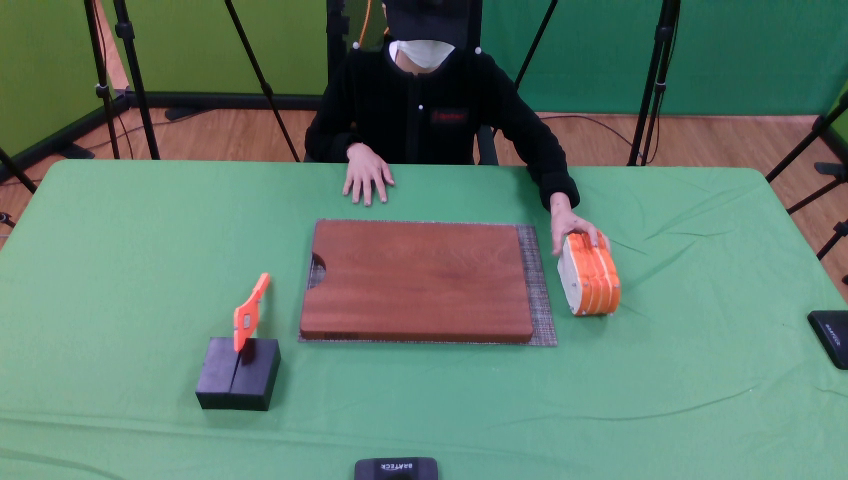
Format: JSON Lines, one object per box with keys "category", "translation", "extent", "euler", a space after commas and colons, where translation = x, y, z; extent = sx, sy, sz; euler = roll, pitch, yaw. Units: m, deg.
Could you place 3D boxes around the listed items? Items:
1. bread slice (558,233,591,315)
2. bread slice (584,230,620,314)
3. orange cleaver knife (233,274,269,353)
{"category": "bread slice", "translation": [0.271, 0.068, 1.096], "extent": [0.019, 0.105, 0.130], "euler": [-4, 53, -4]}
{"category": "bread slice", "translation": [0.322, 0.067, 1.103], "extent": [0.018, 0.107, 0.133], "euler": [-8, 55, -3]}
{"category": "orange cleaver knife", "translation": [-0.290, 0.118, 1.020], "extent": [0.012, 0.077, 0.210], "euler": [2, 17, -1]}
